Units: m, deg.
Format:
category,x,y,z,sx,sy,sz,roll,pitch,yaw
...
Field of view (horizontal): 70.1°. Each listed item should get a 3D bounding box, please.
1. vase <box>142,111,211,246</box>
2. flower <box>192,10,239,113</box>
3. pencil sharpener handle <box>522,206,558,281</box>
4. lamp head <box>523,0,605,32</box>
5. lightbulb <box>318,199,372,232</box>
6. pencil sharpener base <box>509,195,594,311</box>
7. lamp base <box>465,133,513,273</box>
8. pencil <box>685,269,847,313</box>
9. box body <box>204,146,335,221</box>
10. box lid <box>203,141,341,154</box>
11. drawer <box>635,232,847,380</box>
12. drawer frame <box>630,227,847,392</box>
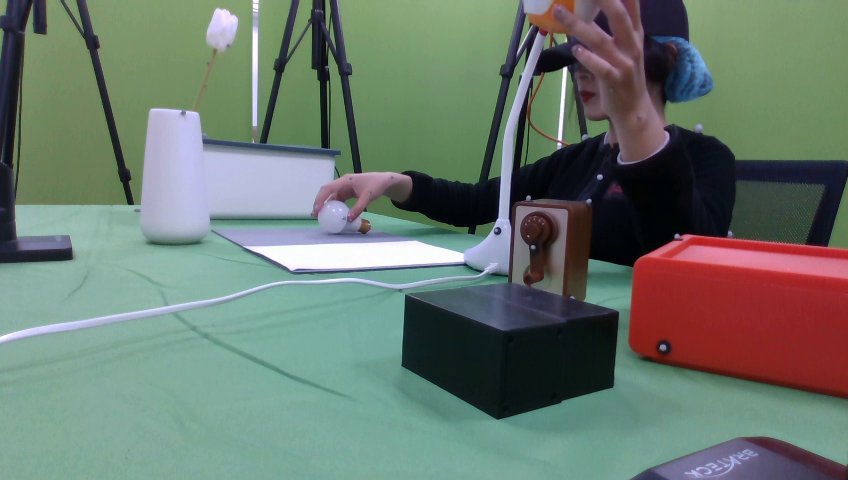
category,x,y,z,sx,sy,sz,roll,pitch,yaw
vase,-0.378,-0.093,0.920,0.098,0.200,0.098,2,9,0
flower,-0.354,-0.174,0.915,0.038,0.361,0.044,18,-3,12
pencil sharpener handle,0.102,0.003,0.555,0.036,0.067,0.031,0,5,31
lamp head,0.149,-0.281,0.626,0.112,0.123,0.112,13,19,-4
lightbulb,-0.143,-0.038,1.108,0.108,0.059,0.059,18,-3,-36
pencil sharpener base,0.126,0.011,0.601,0.061,0.107,0.077,6,9,30
lamp base,0.132,-0.052,0.808,0.160,0.180,0.180,6,12,26
pencil,0.308,0.045,0.516,0.194,0.012,0.012,13,5,-11
box body,-0.411,-0.135,1.386,0.366,0.160,0.253,-2,9,-29
box lid,-0.396,-0.212,1.373,0.373,0.015,0.262,-1,9,-29
drawer,0.292,0.045,0.488,0.193,0.073,0.213,7,10,30
drawer frame,0.292,0.043,0.484,0.201,0.082,0.214,7,9,29
